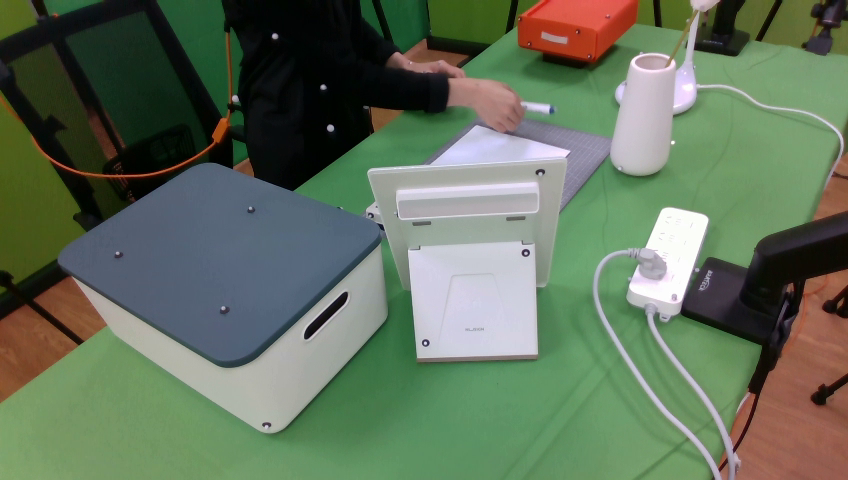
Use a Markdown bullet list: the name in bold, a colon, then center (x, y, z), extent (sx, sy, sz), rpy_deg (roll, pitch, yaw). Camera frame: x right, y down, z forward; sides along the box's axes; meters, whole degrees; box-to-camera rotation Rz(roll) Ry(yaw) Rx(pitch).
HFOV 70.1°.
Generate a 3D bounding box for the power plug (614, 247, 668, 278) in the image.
- **power plug**: center (0.306, 0.031, 0.851), extent (0.072, 0.053, 0.035), rpy_deg (24, 49, 33)

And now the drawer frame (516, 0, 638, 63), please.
- **drawer frame**: center (0.355, -0.508, 1.410), extent (0.200, 0.083, 0.214), rpy_deg (23, 51, 32)

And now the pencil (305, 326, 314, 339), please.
- **pencil**: center (-0.187, 0.106, 0.880), extent (0.012, 0.012, 0.192), rpy_deg (-27, 41, -22)

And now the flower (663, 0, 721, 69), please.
- **flower**: center (0.379, -0.261, 0.965), extent (0.044, 0.362, 0.038), rpy_deg (20, 53, 5)

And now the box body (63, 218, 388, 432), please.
- **box body**: center (-0.256, 0.065, 0.827), extent (0.361, 0.161, 0.255), rpy_deg (20, 48, 29)

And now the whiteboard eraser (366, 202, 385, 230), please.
- **whiteboard eraser**: center (-0.038, -0.038, 1.006), extent (0.112, 0.042, 0.055), rpy_deg (16, 47, 25)

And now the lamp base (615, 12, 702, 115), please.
- **lamp base**: center (0.484, -0.364, 1.211), extent (0.180, 0.181, 0.159), rpy_deg (-15, 41, -14)

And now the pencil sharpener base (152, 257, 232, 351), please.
- **pencil sharpener base**: center (-0.322, 0.088, 0.841), extent (0.061, 0.107, 0.076), rpy_deg (-27, 44, -20)

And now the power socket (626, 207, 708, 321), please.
- **power socket**: center (0.359, 0.025, 0.886), extent (0.072, 0.033, 0.227), rpy_deg (16, 46, 26)

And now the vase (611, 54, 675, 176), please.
- **vase**: center (0.377, -0.209, 1.031), extent (0.098, 0.201, 0.097), rpy_deg (-4, 40, 3)

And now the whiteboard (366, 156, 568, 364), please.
- **whiteboard**: center (0.059, 0.050, 0.738), extent (0.217, 0.307, 0.143), rpy_deg (-2, 60, 6)

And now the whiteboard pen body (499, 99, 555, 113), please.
- **whiteboard pen body**: center (0.192, -0.266, 1.191), extent (0.139, 0.017, 0.017), rpy_deg (15, 45, 33)

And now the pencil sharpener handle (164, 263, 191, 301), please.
- **pencil sharpener handle**: center (-0.354, 0.055, 0.866), extent (0.036, 0.068, 0.030), rpy_deg (-17, 39, -29)

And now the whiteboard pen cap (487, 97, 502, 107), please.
- **whiteboard pen cap**: center (0.145, -0.278, 1.224), extent (0.033, 0.018, 0.018), rpy_deg (17, 46, 33)

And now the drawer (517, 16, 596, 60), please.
- **drawer**: center (0.352, -0.506, 1.405), extent (0.193, 0.073, 0.212), rpy_deg (23, 49, 32)

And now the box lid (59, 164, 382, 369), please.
- **box lid**: center (-0.263, 0.010, 0.777), extent (0.368, 0.015, 0.264), rpy_deg (20, 47, 29)
